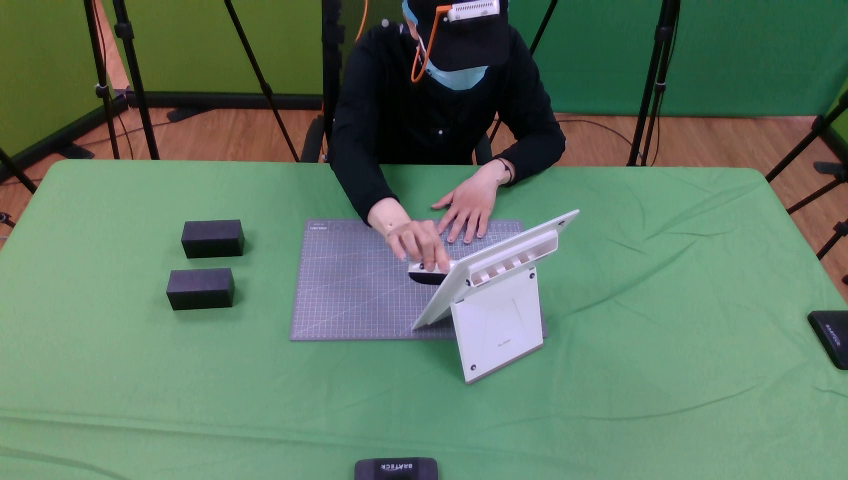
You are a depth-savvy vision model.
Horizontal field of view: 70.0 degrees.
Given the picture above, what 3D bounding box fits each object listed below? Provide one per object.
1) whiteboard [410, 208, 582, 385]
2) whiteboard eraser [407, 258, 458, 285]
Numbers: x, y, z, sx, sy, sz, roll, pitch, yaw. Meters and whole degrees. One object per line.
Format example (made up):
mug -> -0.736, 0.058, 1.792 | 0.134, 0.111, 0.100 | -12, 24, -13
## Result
whiteboard -> 0.131, 0.108, 0.946 | 0.217, 0.306, 0.143 | -21, 72, -22
whiteboard eraser -> 0.034, 0.051, 0.973 | 0.112, 0.056, 0.041 | -1, 80, 27
